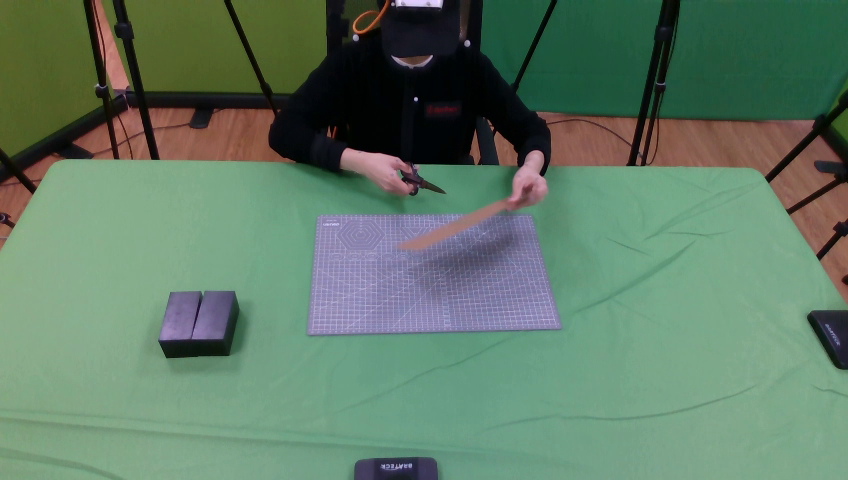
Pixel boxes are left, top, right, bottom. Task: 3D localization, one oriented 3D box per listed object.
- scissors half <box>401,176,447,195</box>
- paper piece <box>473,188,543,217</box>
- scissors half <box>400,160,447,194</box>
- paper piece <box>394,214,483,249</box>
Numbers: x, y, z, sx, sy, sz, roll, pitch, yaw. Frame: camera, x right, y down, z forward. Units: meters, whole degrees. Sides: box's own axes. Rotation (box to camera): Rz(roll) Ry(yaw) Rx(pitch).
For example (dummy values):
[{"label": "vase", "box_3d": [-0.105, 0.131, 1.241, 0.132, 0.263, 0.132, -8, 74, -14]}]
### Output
[{"label": "scissors half", "box_3d": [0.000, -0.104, 1.214, 0.013, 0.040, 0.174, -21, 19, -25]}, {"label": "paper piece", "box_3d": [0.138, -0.062, 1.136, 0.136, 0.135, 0.004, -25, 93, -18]}, {"label": "scissors half", "box_3d": [-0.002, -0.123, 1.206, 0.013, 0.040, 0.174, -16, 33, -28]}, {"label": "paper piece", "box_3d": [0.022, -0.013, 1.093, 0.138, 0.136, 0.008, -25, 95, -18]}]
